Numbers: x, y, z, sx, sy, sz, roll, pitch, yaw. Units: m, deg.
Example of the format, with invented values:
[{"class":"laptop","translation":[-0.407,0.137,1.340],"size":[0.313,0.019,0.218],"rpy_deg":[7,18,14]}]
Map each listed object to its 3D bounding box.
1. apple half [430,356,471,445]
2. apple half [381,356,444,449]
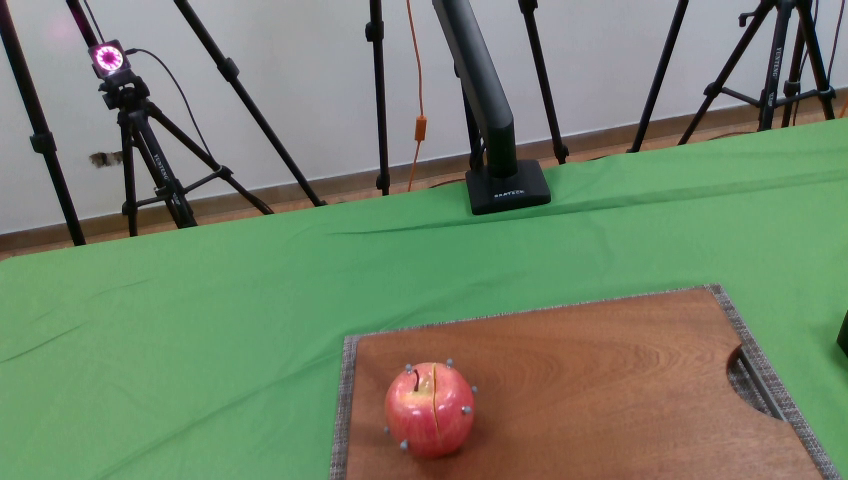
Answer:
[{"class":"apple half","translation":[0.028,0.147,0.556],"size":[0.033,0.082,0.080],"rpy_deg":[-10,38,7]},{"class":"apple half","translation":[-0.011,0.153,0.560],"size":[0.053,0.075,0.080],"rpy_deg":[-11,41,8]}]
